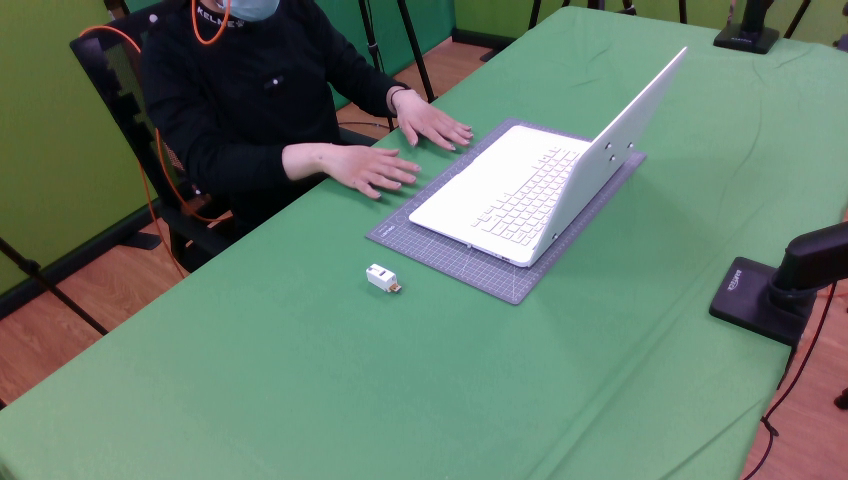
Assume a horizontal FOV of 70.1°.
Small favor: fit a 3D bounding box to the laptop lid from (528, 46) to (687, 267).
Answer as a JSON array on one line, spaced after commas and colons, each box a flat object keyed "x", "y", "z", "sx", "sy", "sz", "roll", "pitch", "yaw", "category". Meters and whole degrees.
[{"x": 0.277, "y": -0.126, "z": 0.903, "sx": 0.013, "sy": 0.242, "sz": 0.358, "roll": 35, "pitch": 53, "yaw": 17, "category": "laptop lid"}]

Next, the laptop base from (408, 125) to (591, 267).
[{"x": 0.168, "y": -0.092, "z": 1.054, "sx": 0.233, "sy": 0.023, "sz": 0.355, "roll": 21, "pitch": 47, "yaw": 33, "category": "laptop base"}]

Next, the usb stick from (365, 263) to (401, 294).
[{"x": -0.059, "y": 0.060, "z": 0.904, "sx": 0.058, "sy": 0.027, "sz": 0.021, "roll": 28, "pitch": 51, "yaw": 30, "category": "usb stick"}]
